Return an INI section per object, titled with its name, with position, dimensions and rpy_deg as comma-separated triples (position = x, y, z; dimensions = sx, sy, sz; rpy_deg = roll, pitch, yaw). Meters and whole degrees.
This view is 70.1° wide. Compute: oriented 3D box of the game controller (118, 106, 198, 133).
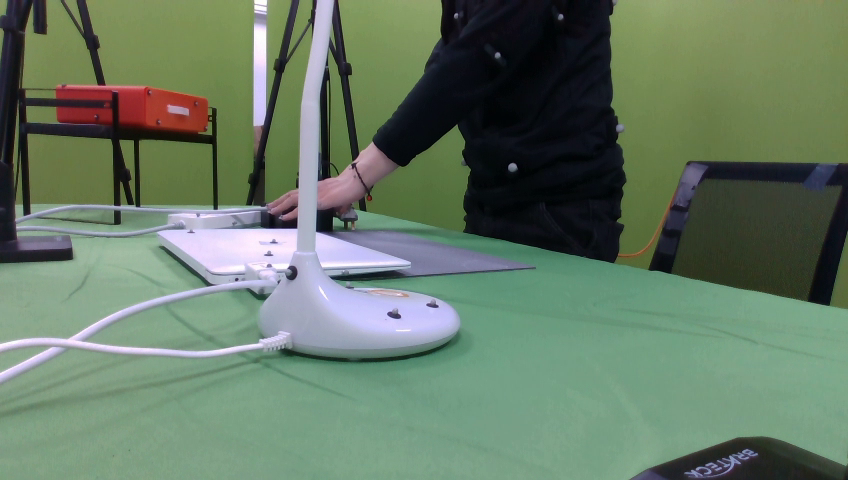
[game controller]
position = -0.555, -0.252, 1.255
dimensions = 0.097, 0.051, 0.155
rpy_deg = 8, 12, 18

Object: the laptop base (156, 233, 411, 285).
[laptop base]
position = -0.204, 0.019, 0.807
dimensions = 0.237, 0.023, 0.352
rpy_deg = 0, 7, -33

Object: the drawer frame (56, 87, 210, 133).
[drawer frame]
position = -0.598, -0.269, 1.261
dimensions = 0.213, 0.082, 0.202
rpy_deg = 4, 8, 14

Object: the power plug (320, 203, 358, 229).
[power plug]
position = -0.168, -0.046, 1.211
dimensions = 0.072, 0.052, 0.035
rpy_deg = -4, -9, 2

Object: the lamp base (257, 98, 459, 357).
[lamp base]
position = -0.055, -0.014, 0.463
dimensions = 0.160, 0.180, 0.180
rpy_deg = 6, 11, 27

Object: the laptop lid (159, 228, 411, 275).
[laptop lid]
position = -0.201, 0.007, 0.806
dimensions = 0.243, 0.013, 0.355
rpy_deg = -1, 8, -31

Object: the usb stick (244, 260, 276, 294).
[usb stick]
position = -0.166, 0.035, 0.604
dimensions = 0.021, 0.027, 0.059
rpy_deg = -7, 8, -28

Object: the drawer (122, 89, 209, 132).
[drawer]
position = -0.595, -0.268, 1.263
dimensions = 0.211, 0.073, 0.195
rpy_deg = 4, 8, 15

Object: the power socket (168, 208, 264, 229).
[power socket]
position = -0.381, -0.038, 1.128
dimensions = 0.072, 0.032, 0.227
rpy_deg = 4, 8, 16
